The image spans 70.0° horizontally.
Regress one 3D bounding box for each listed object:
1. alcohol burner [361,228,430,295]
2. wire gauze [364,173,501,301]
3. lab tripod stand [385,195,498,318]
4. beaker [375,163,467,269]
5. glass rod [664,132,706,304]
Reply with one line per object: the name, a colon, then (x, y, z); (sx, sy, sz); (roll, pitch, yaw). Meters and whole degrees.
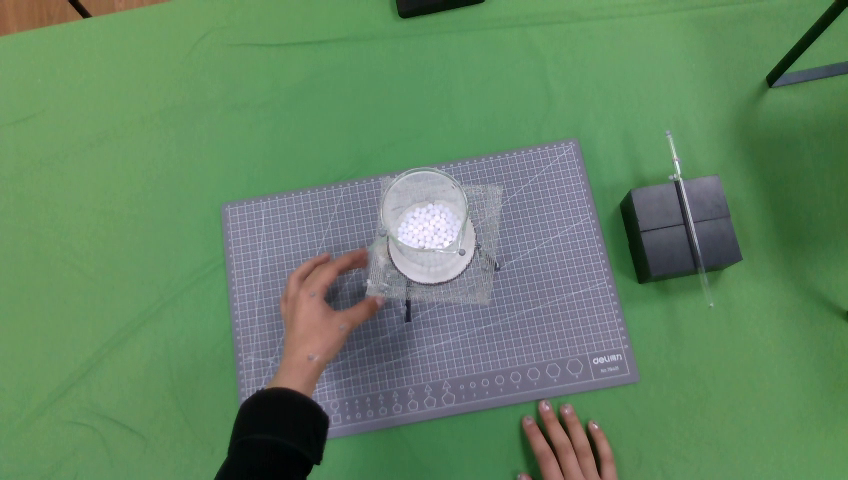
alcohol burner: (-0.033, 0.021, 0.665); (0.078, 0.119, 0.077); (-1, 77, 4)
wire gauze: (0.010, -0.004, 0.591); (0.121, 0.011, 0.124); (6, 74, 4)
lab tripod stand: (0.007, 0.011, 0.656); (0.148, 0.132, 0.147); (-1, 76, 5)
beaker: (0.003, -0.014, 0.544); (0.074, 0.101, 0.083); (-38, 77, -6)
glass rod: (0.288, -0.027, 0.668); (0.008, 0.008, 0.198); (-7, 77, 1)
